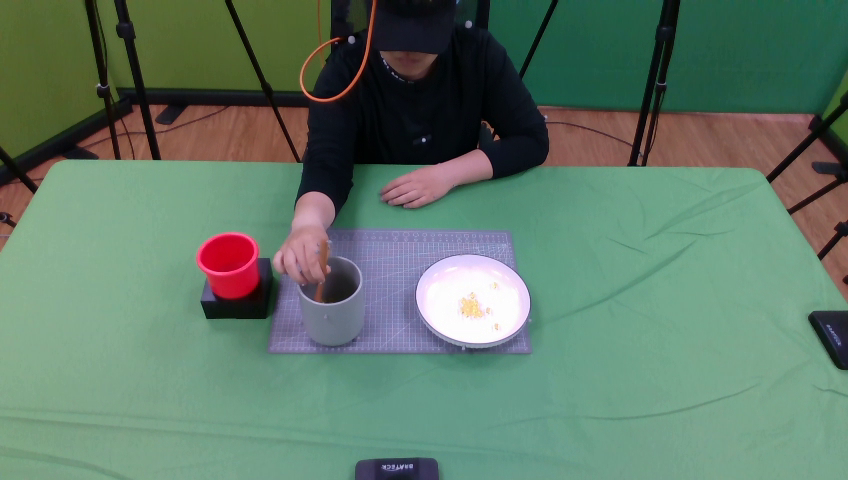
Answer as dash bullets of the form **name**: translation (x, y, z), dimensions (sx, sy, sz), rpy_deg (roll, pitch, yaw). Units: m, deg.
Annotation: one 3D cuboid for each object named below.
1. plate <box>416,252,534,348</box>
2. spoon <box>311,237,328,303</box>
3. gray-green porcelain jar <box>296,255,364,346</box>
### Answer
- **plate**: translation (0.090, 0.109, 1.084), dimensions (0.208, 0.039, 0.206), rpy_deg (2, 46, -2)
- **spoon**: translation (-0.167, 0.070, 0.959), dimensions (0.041, 0.194, 0.021), rpy_deg (31, 36, 22)
- **gray-green porcelain jar**: translation (-0.153, 0.106, 1.008), dimensions (0.106, 0.127, 0.105), rpy_deg (2, 46, -2)
